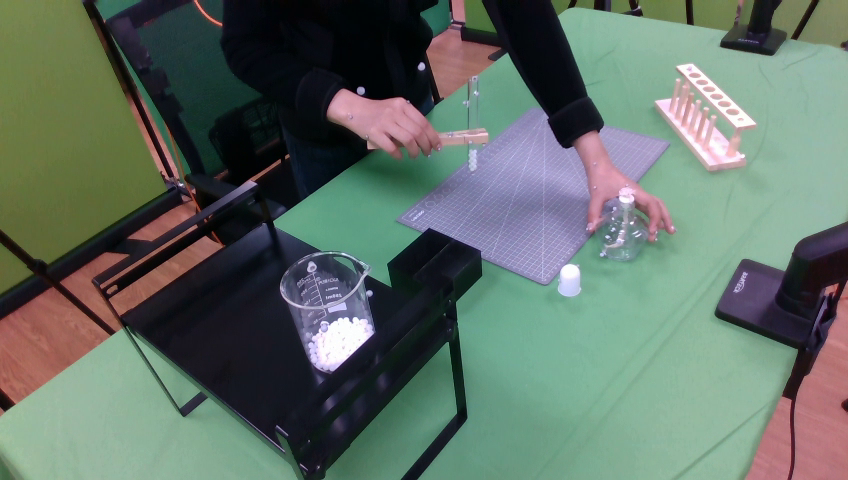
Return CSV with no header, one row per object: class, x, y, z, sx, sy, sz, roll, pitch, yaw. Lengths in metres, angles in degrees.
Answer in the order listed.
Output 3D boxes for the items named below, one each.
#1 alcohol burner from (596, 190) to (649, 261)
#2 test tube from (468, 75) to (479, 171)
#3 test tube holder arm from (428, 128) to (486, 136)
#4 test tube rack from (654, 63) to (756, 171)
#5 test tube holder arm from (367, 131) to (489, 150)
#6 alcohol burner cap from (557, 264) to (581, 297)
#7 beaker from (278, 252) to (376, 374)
alcohol burner,0.294,-0.027,0.893,0.078,0.119,0.077,-5,42,5
test tube,0.072,-0.168,0.889,0.017,0.151,0.017,-2,36,2
test tube holder arm,0.049,-0.154,0.898,0.088,0.015,0.010,-10,31,-13
test tube rack,0.510,-0.233,1.120,0.067,0.085,0.241,-8,41,-1
test tube holder arm,0.006,-0.146,0.886,0.179,0.015,0.013,-6,30,-7
alcohol burner cap,0.209,0.055,0.866,0.034,0.048,0.033,-4,41,4
beaker,-0.084,0.070,0.569,0.084,0.101,0.073,-18,42,-13
